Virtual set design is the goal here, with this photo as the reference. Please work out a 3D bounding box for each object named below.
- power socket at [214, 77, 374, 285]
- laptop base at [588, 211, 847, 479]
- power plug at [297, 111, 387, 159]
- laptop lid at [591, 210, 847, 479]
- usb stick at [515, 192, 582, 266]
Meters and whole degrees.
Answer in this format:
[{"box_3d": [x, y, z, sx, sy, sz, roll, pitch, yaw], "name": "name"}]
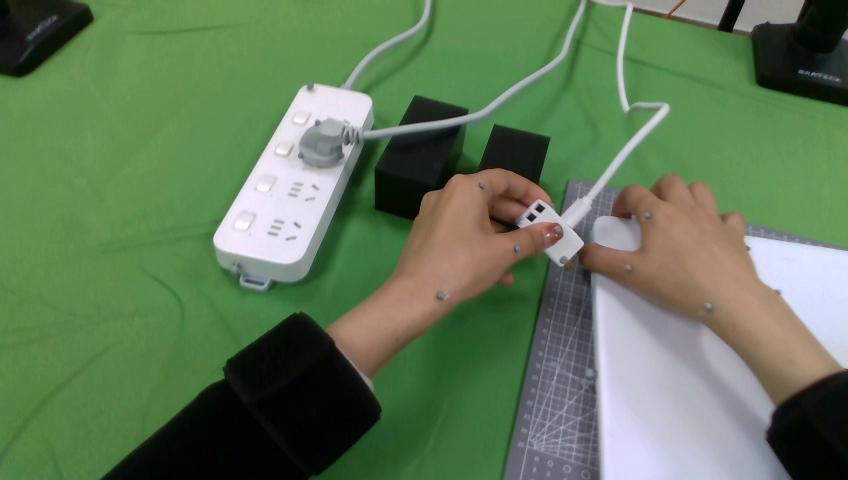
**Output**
[{"box_3d": [-0.102, -0.062, 0.514, 0.072, 0.033, 0.225, 14, 52, 4], "name": "power socket"}, {"box_3d": [0.294, 0.098, 0.436, 0.354, 0.023, 0.233, 9, 56, 1], "name": "laptop base"}, {"box_3d": [-0.070, -0.077, 0.499, 0.072, 0.053, 0.035, 22, 54, 11], "name": "power plug"}, {"box_3d": [0.295, 0.093, 0.425, 0.356, 0.013, 0.239, 10, 55, 2], "name": "laptop lid"}, {"box_3d": [0.094, -0.005, 0.439, 0.027, 0.060, 0.021, -44, 29, 1], "name": "usb stick"}]
